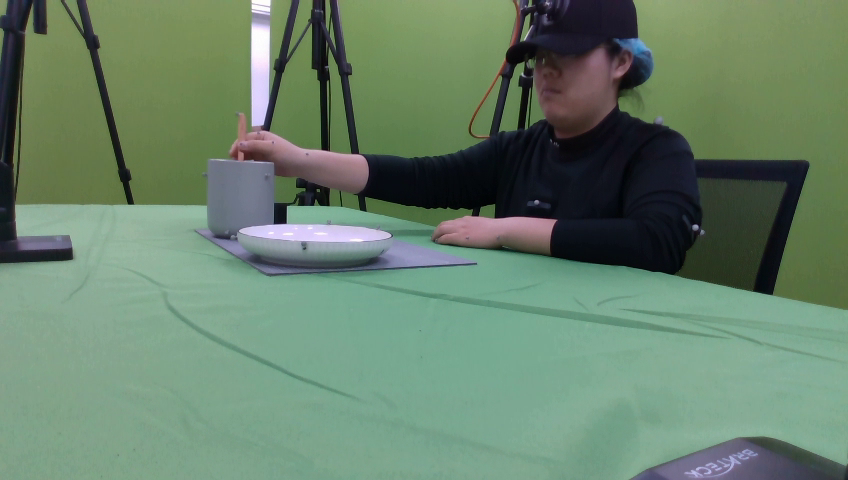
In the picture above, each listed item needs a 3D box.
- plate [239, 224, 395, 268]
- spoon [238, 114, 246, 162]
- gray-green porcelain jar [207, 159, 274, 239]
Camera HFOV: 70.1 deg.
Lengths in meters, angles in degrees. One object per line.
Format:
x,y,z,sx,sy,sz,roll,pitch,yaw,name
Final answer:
-0.144,0.007,0.823,0.208,0.039,0.207,3,7,0,plate
-0.316,-0.130,1.038,0.042,0.193,0.021,8,-17,-28,spoon
-0.304,-0.068,1.003,0.106,0.126,0.106,3,7,0,gray-green porcelain jar
